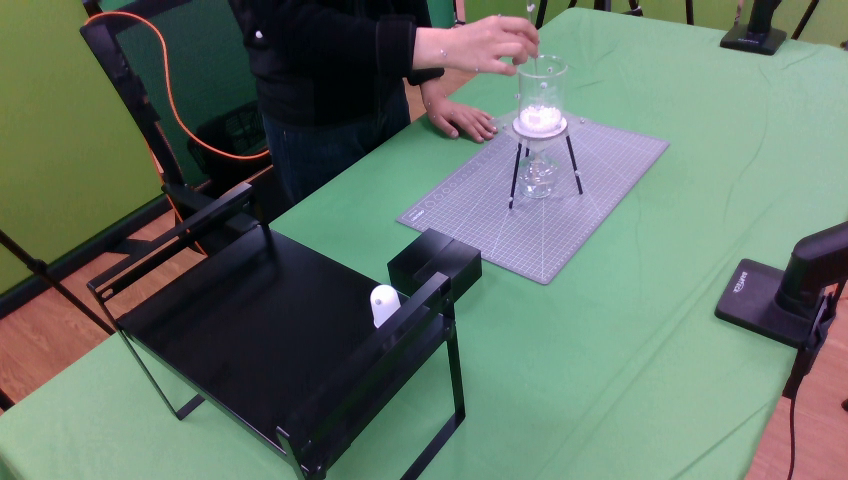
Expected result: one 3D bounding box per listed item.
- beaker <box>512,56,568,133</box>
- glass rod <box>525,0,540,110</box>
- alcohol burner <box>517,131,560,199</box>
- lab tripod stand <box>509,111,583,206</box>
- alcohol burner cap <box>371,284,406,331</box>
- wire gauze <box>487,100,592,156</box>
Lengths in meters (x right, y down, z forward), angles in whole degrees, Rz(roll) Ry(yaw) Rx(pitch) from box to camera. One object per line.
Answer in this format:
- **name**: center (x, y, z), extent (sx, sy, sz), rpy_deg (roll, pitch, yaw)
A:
- **beaker**: center (0.181, -0.225, 0.946), extent (0.084, 0.101, 0.074), rpy_deg (2, 41, 12)
- **glass rod**: center (0.162, -0.278, 0.898), extent (0.008, 0.201, 0.008), rpy_deg (-8, 46, 9)
- **alcohol burner**: center (0.193, -0.131, 1.026), extent (0.078, 0.119, 0.077), rpy_deg (-4, 38, 4)
- **lab tripod stand**: center (0.198, -0.139, 1.019), extent (0.148, 0.132, 0.147), rpy_deg (-3, 39, 3)
- **alcohol burner cap**: center (-0.037, 0.065, 0.608), extent (0.034, 0.048, 0.033), rpy_deg (-4, 41, 4)
- **wire gauze**: center (0.185, -0.187, 0.975), extent (0.122, 0.011, 0.124), rpy_deg (-28, 46, -22)
